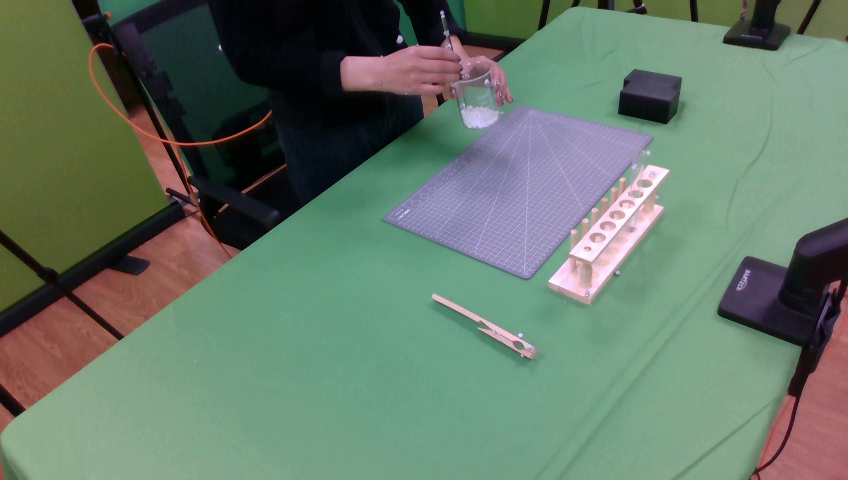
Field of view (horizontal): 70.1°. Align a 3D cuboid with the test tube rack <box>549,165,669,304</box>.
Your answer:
[{"bbox_3d":[0.279,-0.018,0.902,0.066,0.085,0.243,24,50,33],"label":"test tube rack"}]

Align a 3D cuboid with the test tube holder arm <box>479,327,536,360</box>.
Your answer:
[{"bbox_3d":[0.110,0.134,0.805,0.087,0.015,0.010,29,83,36],"label":"test tube holder arm"}]

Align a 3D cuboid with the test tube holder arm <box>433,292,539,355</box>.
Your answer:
[{"bbox_3d":[0.081,0.113,0.832,0.177,0.015,0.013,28,82,36],"label":"test tube holder arm"}]

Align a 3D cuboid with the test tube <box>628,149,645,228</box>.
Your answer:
[{"bbox_3d":[0.309,-0.071,0.882,0.017,0.151,0.017,-7,46,8],"label":"test tube"}]

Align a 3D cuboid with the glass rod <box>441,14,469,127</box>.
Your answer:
[{"bbox_3d":[0.054,-0.281,1.023,0.008,0.201,0.008,-11,35,9],"label":"glass rod"}]

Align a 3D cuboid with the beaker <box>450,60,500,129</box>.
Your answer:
[{"bbox_3d":[0.090,-0.252,1.063,0.084,0.101,0.073,-32,40,-18],"label":"beaker"}]
